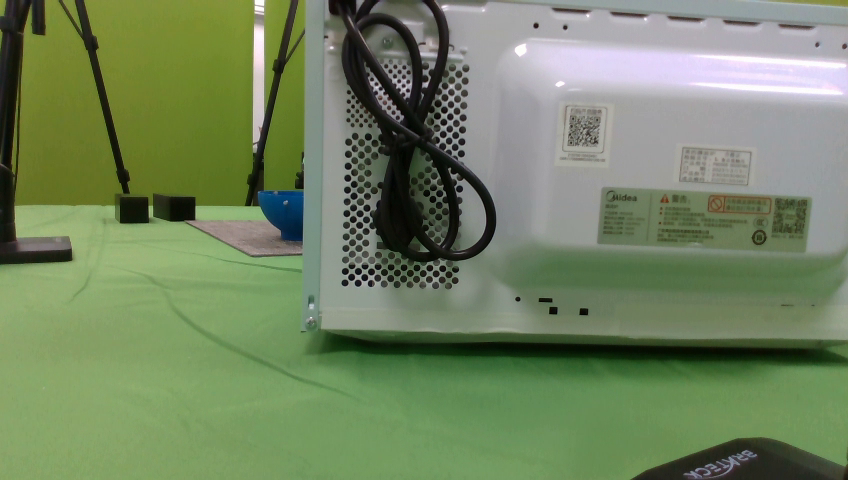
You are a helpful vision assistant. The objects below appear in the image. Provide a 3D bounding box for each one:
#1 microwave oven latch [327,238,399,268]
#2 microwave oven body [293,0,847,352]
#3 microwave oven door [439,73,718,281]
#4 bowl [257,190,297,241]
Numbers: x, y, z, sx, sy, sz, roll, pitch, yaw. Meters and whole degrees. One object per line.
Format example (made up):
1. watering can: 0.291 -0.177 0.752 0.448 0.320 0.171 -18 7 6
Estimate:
1. microwave oven latch: -0.069 0.015 0.694 0.079 0.029 0.030 3 7 -3
2. microwave oven body: 0.122 -0.055 0.550 0.442 0.260 0.325 3 7 -5
3. microwave oven door: 0.185 -0.090 0.801 0.354 0.243 0.039 7 8 33
4. bowl: -0.206 -0.041 1.027 0.151 0.077 0.151 3 8 0
